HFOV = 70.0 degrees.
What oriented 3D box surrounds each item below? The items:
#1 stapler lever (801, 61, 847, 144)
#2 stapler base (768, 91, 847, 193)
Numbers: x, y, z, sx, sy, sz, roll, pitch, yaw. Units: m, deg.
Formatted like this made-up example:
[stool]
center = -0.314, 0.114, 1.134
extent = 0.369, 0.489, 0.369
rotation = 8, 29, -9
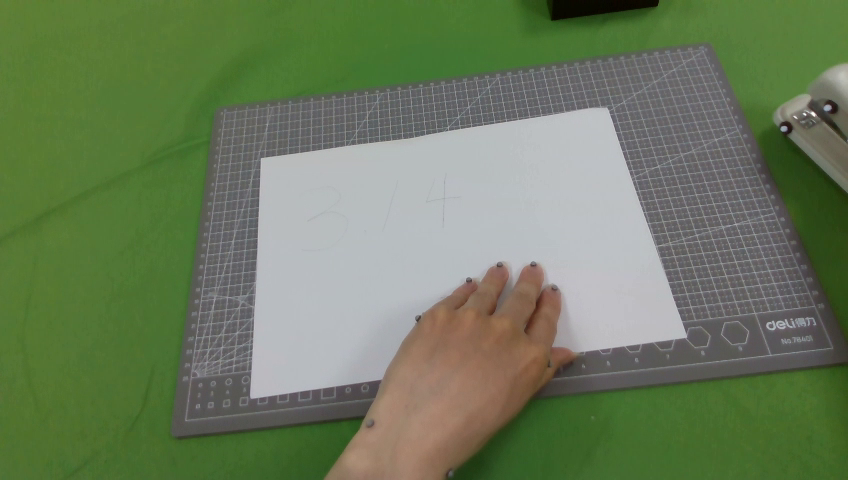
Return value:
[stapler lever]
center = 0.310, -0.074, 0.416
extent = 0.027, 0.040, 0.117
rotation = -31, 67, -6
[stapler base]
center = 0.311, -0.064, 0.439
extent = 0.041, 0.024, 0.129
rotation = -31, 67, -6
